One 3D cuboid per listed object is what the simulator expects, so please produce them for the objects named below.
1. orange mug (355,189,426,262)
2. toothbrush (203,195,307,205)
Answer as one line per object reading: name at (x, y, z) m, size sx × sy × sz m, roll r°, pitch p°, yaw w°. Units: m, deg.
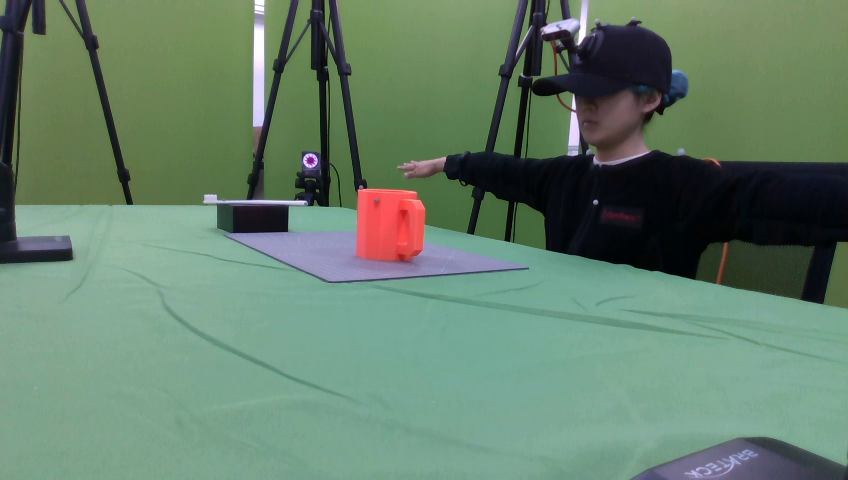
orange mug at (-0.043, -0.022, 0.854) m, size 0.084 × 0.100 × 0.125 m, roll -3°, pitch 5°, yaw -40°
toothbrush at (-0.306, -0.072, 1.105) m, size 0.183 × 0.016 × 0.014 m, roll 1°, pitch 5°, yaw -22°
